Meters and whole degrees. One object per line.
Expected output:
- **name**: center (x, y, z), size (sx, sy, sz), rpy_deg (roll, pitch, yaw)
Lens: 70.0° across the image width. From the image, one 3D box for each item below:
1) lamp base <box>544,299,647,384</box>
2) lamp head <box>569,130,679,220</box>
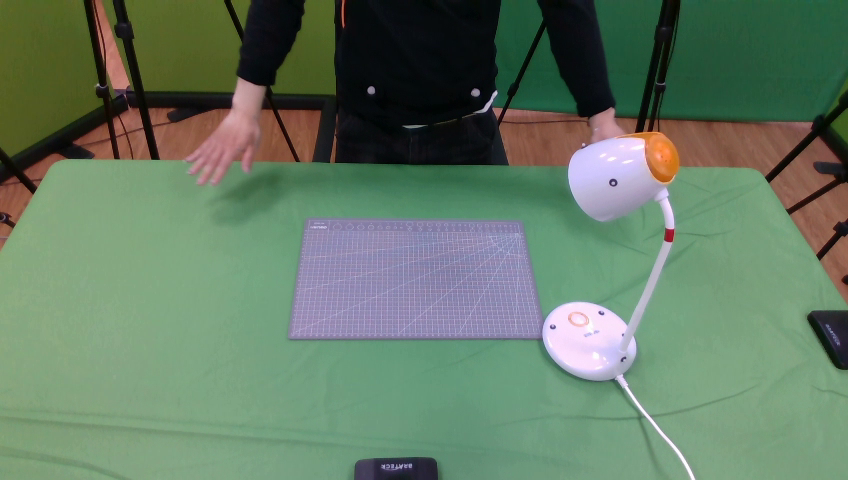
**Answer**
- **lamp base**: center (0.299, 0.124, 0.984), size (0.161, 0.181, 0.178), rpy_deg (-23, 55, -23)
- **lamp head**: center (0.272, -0.090, 0.798), size (0.113, 0.122, 0.112), rpy_deg (7, 78, -33)
